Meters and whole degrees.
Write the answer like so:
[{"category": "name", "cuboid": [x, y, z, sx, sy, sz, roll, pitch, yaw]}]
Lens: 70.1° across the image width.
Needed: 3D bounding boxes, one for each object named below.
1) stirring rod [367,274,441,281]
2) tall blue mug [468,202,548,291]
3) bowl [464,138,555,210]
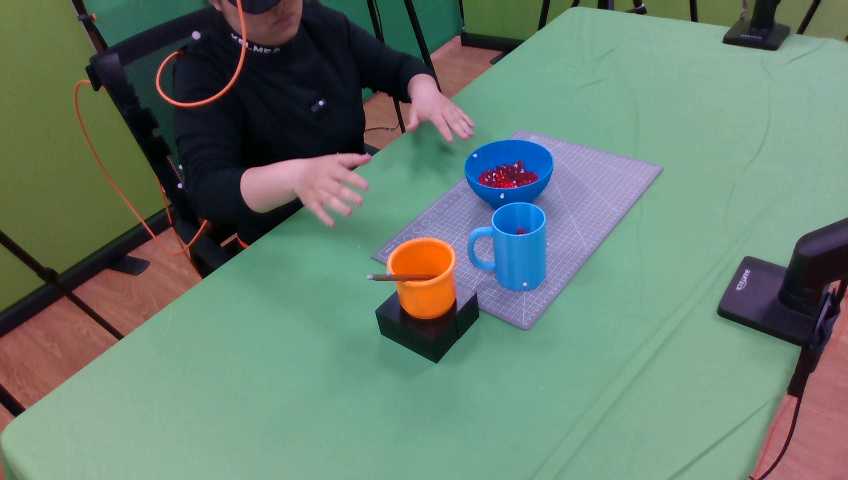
[{"category": "stirring rod", "cuboid": [-0.021, 0.047, 0.762, 0.014, 0.006, 0.177, 17, 4, 26]}, {"category": "tall blue mug", "cuboid": [0.125, 0.015, 0.868, 0.107, 0.108, 0.077, -21, 42, -14]}, {"category": "bowl", "cuboid": [0.145, -0.100, 1.025, 0.151, 0.077, 0.150, -5, 40, 5]}]
